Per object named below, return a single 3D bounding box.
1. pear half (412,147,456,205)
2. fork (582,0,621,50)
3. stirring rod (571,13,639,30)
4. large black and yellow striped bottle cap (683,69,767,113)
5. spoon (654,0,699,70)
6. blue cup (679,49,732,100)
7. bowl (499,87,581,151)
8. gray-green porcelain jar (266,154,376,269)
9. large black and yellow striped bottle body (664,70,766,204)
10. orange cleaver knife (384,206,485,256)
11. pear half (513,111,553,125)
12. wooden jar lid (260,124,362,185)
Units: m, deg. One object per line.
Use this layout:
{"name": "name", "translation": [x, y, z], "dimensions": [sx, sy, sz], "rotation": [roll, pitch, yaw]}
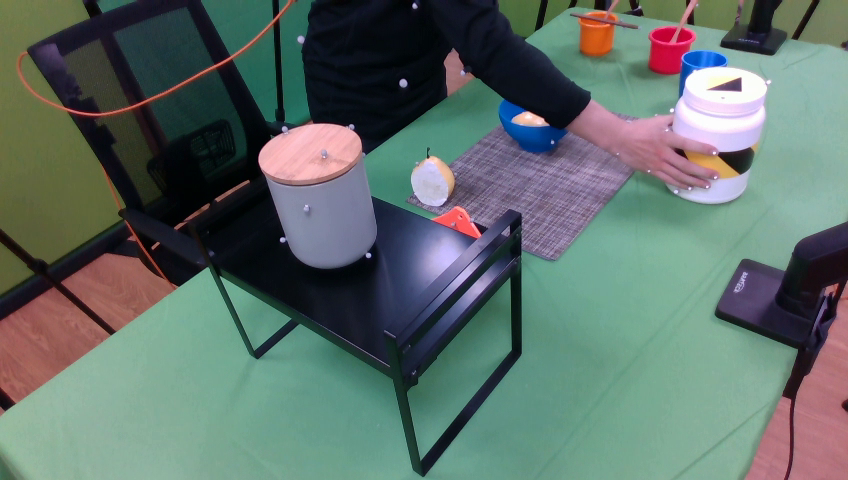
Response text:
{"name": "pear half", "translation": [0.019, -0.120, 1.042], "dimensions": [0.076, 0.110, 0.056], "rotation": [11, 44, 16]}
{"name": "fork", "translation": [0.446, -0.539, 1.437], "dimensions": [0.207, 0.019, 0.028], "rotation": [-57, 35, 12]}
{"name": "stirring rod", "translation": [0.419, -0.509, 1.404], "dimensions": [0.174, 0.006, 0.014], "rotation": [29, 55, 35]}
{"name": "large black and yellow striped bottle cap", "translation": [0.457, -0.228, 0.919], "dimensions": [0.115, 0.019, 0.114], "rotation": [-4, 39, 4]}
{"name": "spoon", "translation": [0.567, -0.463, 1.337], "dimensions": [0.041, 0.022, 0.193], "rotation": [30, 97, 38]}
{"name": "blue cup", "translation": [0.545, -0.310, 1.194], "dimensions": [0.092, 0.100, 0.092], "rotation": [-3, 41, 3]}
{"name": "bowl", "translation": [0.220, -0.223, 1.155], "dimensions": [0.151, 0.077, 0.150], "rotation": [-4, 40, 4]}
{"name": "gray-green porcelain jar", "translation": [-0.112, -0.039, 0.685], "dimensions": [0.106, 0.127, 0.105], "rotation": [-4, 40, 4]}
{"name": "large black and yellow striped bottle body", "translation": [0.467, -0.166, 0.974], "dimensions": [0.131, 0.185, 0.130], "rotation": [-5, 41, 5]}
{"name": "orange cleaver knife", "translation": [0.012, -0.010, 0.942], "dimensions": [0.012, 0.077, 0.210], "rotation": [-37, 19, -35]}
{"name": "pear half", "translation": [0.212, -0.228, 1.152], "dimensions": [0.088, 0.031, 0.070], "rotation": [7, 46, 10]}
{"name": "wooden jar lid", "translation": [-0.119, -0.088, 0.645], "dimensions": [0.108, 0.021, 0.108], "rotation": [-4, 40, 4]}
